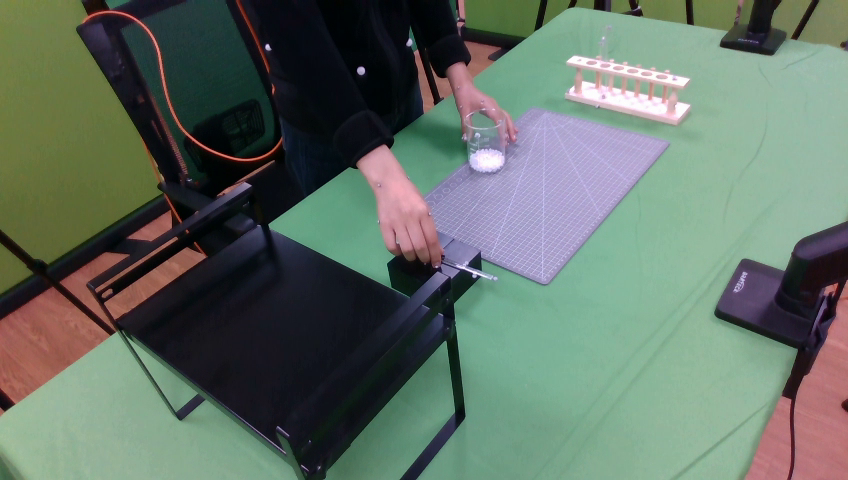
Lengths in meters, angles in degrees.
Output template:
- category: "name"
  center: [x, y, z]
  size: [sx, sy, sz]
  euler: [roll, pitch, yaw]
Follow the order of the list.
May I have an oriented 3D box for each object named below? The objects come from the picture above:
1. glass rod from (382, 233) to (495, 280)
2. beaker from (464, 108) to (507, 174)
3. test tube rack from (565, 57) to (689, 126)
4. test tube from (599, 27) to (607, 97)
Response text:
- category: "glass rod"
  center: [0.017, 0.023, 0.881]
  size: [0.198, 0.008, 0.008]
  euler: [21, 48, 29]
- category: "beaker"
  center: [0.112, -0.179, 1.106]
  size: [0.083, 0.101, 0.074]
  euler: [20, 47, 29]
- category: "test tube rack"
  center: [0.412, -0.311, 1.230]
  size: [0.240, 0.085, 0.067]
  euler: [23, 49, 32]
- category: "test tube"
  center: [0.358, -0.353, 1.210]
  size: [0.017, 0.151, 0.017]
  euler: [-8, 43, 8]
